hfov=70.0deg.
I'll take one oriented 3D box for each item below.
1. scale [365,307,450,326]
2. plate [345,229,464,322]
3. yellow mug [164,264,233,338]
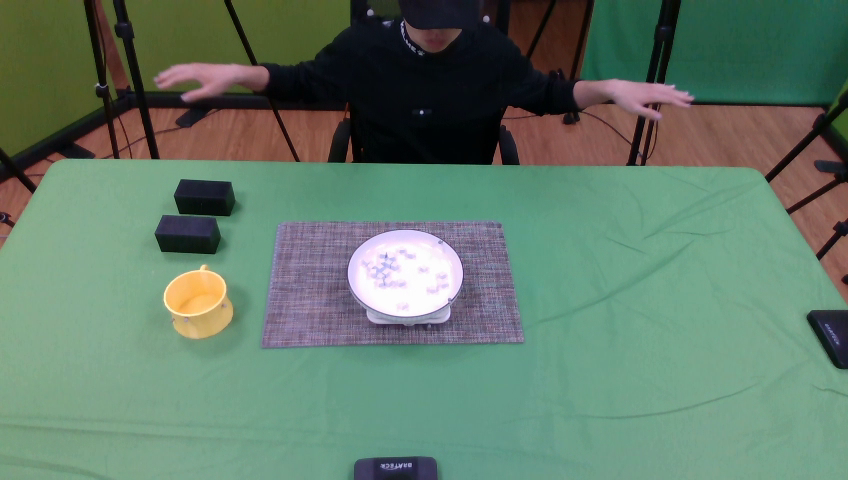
[{"bbox_3d":[-0.032,0.071,1.113,0.149,0.032,0.199,0,46,-4],"label":"scale"},{"bbox_3d":[-0.034,0.065,1.073,0.209,0.038,0.208,2,46,-2],"label":"plate"},{"bbox_3d":[-0.384,0.097,1.043,0.100,0.064,0.130,-1,45,-5],"label":"yellow mug"}]
